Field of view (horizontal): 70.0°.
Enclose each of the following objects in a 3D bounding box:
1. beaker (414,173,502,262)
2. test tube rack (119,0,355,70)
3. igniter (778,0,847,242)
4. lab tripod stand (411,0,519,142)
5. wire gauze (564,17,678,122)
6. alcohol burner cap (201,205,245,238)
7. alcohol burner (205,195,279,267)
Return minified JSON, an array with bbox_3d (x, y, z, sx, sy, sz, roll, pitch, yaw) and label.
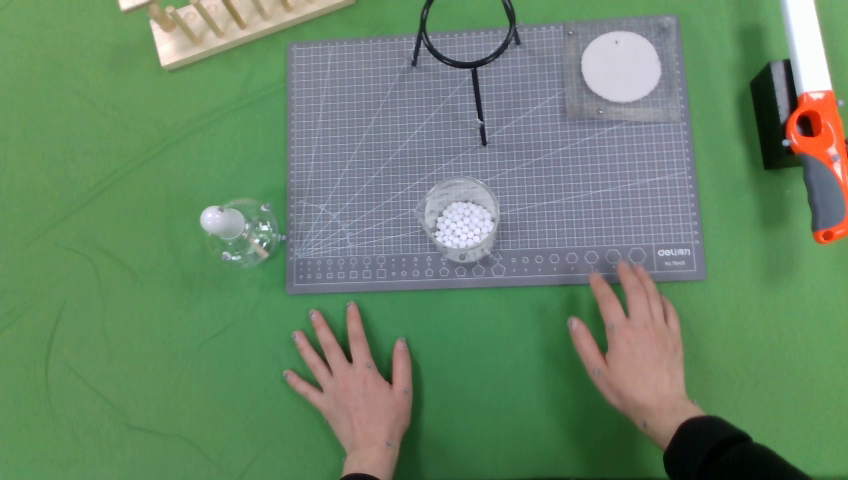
[{"bbox_3d":[0.037,-0.018,0.617,0.084,0.101,0.073,4,80,7],"label":"beaker"},{"bbox_3d":[-0.210,-0.282,0.693,0.242,0.085,0.066,-19,79,2],"label":"test tube rack"},{"bbox_3d":[0.382,-0.134,0.594,0.057,0.025,0.275,-3,78,8],"label":"igniter"},{"bbox_3d":[0.049,-0.191,0.626,0.148,0.132,0.148,-1,81,4],"label":"lab tripod stand"},{"bbox_3d":[0.219,-0.191,0.674,0.125,0.011,0.121,2,80,3],"label":"wire gauze"},{"bbox_3d":[-0.202,-0.020,0.598,0.034,0.048,0.034,-1,83,5],"label":"alcohol burner cap"},{"bbox_3d":[-0.197,-0.013,0.634,0.078,0.119,0.077,-1,78,5],"label":"alcohol burner"}]
